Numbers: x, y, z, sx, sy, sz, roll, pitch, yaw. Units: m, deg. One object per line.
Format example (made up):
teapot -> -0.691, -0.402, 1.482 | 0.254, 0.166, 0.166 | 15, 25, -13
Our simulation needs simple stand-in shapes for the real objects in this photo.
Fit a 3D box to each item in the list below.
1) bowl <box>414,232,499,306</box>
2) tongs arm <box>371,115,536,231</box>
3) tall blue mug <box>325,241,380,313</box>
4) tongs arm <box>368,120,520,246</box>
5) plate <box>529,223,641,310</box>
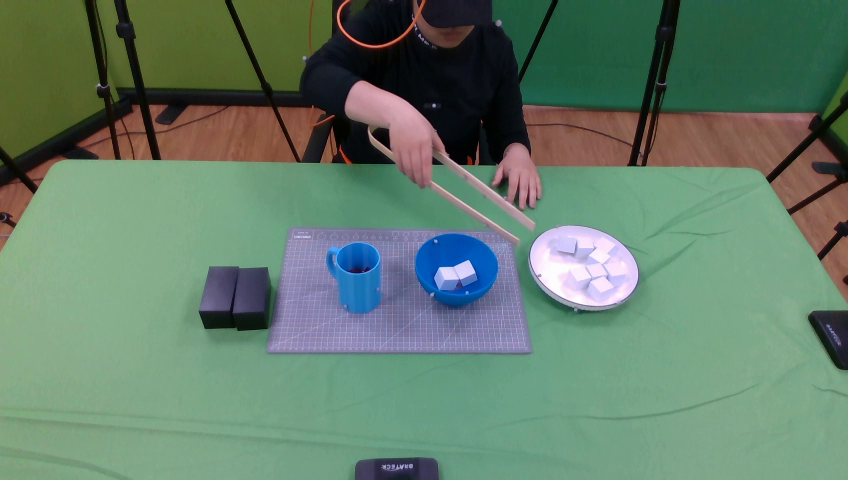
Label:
bowl -> 0.056, 0.066, 1.095 | 0.151, 0.077, 0.150 | 2, 46, -2
tongs arm -> 0.046, -0.127, 1.134 | 0.051, 0.026, 0.383 | -41, 67, -19
tall blue mug -> -0.130, 0.063, 1.062 | 0.107, 0.108, 0.077 | 9, 47, 5
tongs arm -> 0.026, -0.108, 1.124 | 0.386, 0.028, 0.028 | 39, 72, 21
plate -> 0.303, 0.053, 1.156 | 0.209, 0.038, 0.208 | 2, 46, -1
